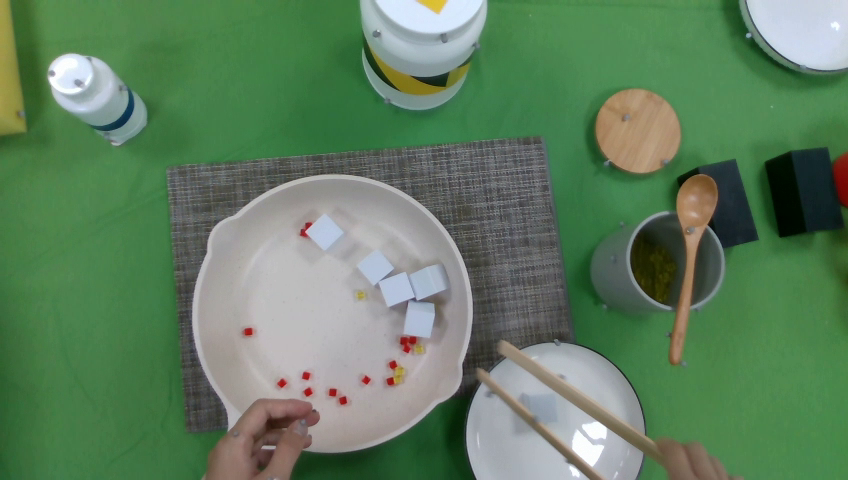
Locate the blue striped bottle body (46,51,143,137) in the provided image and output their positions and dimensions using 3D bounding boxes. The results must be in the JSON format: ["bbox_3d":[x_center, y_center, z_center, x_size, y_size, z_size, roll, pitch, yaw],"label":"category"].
[{"bbox_3d":[-0.353,-0.158,0.647,0.063,0.121,0.063,1,82,-5],"label":"blue striped bottle body"}]

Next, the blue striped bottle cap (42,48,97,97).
[{"bbox_3d":[-0.350,-0.166,0.597,0.044,0.020,0.044,1,85,-6],"label":"blue striped bottle cap"}]

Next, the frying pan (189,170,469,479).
[{"bbox_3d":[-0.156,0.154,0.636,0.307,0.103,0.486,35,73,0],"label":"frying pan"}]

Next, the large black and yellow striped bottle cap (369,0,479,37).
[{"bbox_3d":[0.000,-0.252,0.578,0.115,0.019,0.114,1,85,-5],"label":"large black and yellow striped bottle cap"}]

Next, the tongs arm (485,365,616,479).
[{"bbox_3d":[0.210,0.232,0.538,0.051,0.027,0.381,-35,62,-27],"label":"tongs arm"}]

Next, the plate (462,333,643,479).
[{"bbox_3d":[0.144,0.210,0.694,0.208,0.039,0.207,1,84,-6],"label":"plate"}]

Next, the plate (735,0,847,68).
[{"bbox_3d":[0.502,-0.322,0.794,0.209,0.038,0.208,1,83,-5],"label":"plate"}]

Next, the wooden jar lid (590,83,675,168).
[{"bbox_3d":[0.259,-0.141,0.758,0.108,0.021,0.108,1,85,-5],"label":"wooden jar lid"}]

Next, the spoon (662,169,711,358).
[{"bbox_3d":[0.261,0.024,0.615,0.042,0.021,0.193,10,86,-6],"label":"spoon"}]

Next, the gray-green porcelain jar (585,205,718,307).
[{"bbox_3d":[0.248,0.023,0.684,0.106,0.126,0.105,1,83,-5],"label":"gray-green porcelain jar"}]

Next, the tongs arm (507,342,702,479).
[{"bbox_3d":[0.226,0.218,0.550,0.384,0.028,0.028,37,55,23],"label":"tongs arm"}]

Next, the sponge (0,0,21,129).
[{"bbox_3d":[-0.536,-0.223,0.667,0.118,0.061,0.206,-11,85,-7],"label":"sponge"}]

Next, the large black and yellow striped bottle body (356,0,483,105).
[{"bbox_3d":[-0.008,-0.240,0.661,0.131,0.184,0.130,1,82,-5],"label":"large black and yellow striped bottle body"}]
